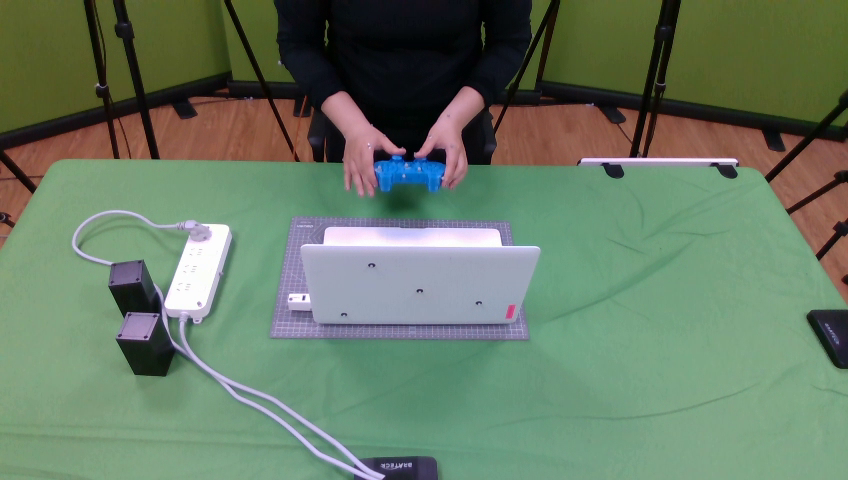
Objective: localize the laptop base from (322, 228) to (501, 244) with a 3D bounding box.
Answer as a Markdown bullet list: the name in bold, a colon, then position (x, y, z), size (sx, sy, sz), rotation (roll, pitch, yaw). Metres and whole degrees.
- **laptop base**: position (-0.020, 0.063, 1.136), size (0.355, 0.023, 0.234), rotation (0, 43, -4)

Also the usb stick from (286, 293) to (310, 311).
- **usb stick**: position (-0.210, 0.109, 1.060), size (0.059, 0.027, 0.021), rotation (4, 45, -6)

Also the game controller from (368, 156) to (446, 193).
- **game controller**: position (-0.032, -0.134, 1.182), size (0.155, 0.052, 0.096), rotation (0, 36, -5)

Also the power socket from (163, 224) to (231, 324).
- **power socket**: position (-0.411, 0.052, 1.107), size (0.072, 0.033, 0.225), rotation (3, 46, -3)

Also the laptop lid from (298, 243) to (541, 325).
- **laptop lid**: position (-0.010, 0.076, 0.958), size (0.357, 0.243, 0.013), rotation (1, 53, -5)

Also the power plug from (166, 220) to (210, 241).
- **power plug**: position (-0.440, -0.016, 1.143), size (0.072, 0.053, 0.035), rotation (7, 46, 8)
